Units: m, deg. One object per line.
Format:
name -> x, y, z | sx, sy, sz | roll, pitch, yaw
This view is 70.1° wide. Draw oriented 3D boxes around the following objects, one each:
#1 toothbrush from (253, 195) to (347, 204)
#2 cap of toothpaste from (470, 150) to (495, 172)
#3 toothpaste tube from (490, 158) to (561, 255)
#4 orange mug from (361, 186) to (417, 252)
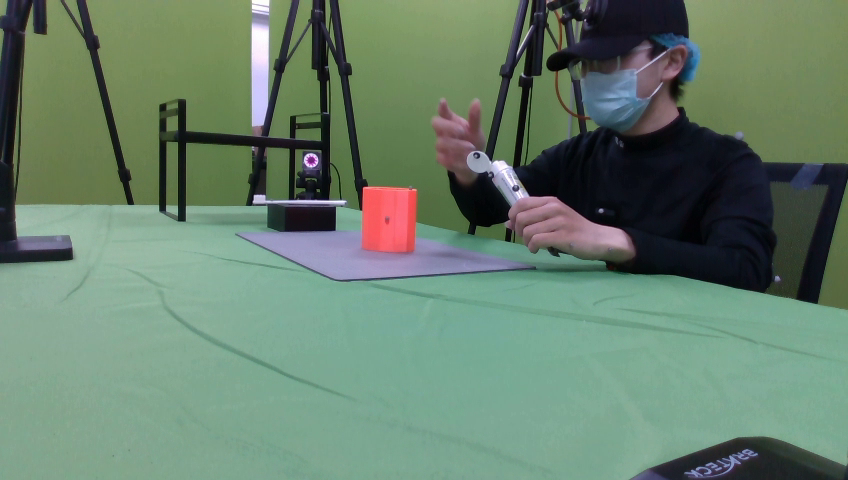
toothbrush -> -0.234, -0.076, 1.154 | 0.183, 0.016, 0.014 | -1, 4, -27
cap of toothpaste -> 0.083, -0.114, 0.858 | 0.037, 0.037, 0.011 | 6, 42, 25
toothpaste tube -> 0.142, -0.048, 0.849 | 0.034, 0.164, 0.055 | -39, -18, 25
orange mug -> -0.054, -0.039, 0.962 | 0.083, 0.101, 0.126 | 2, 12, 0
